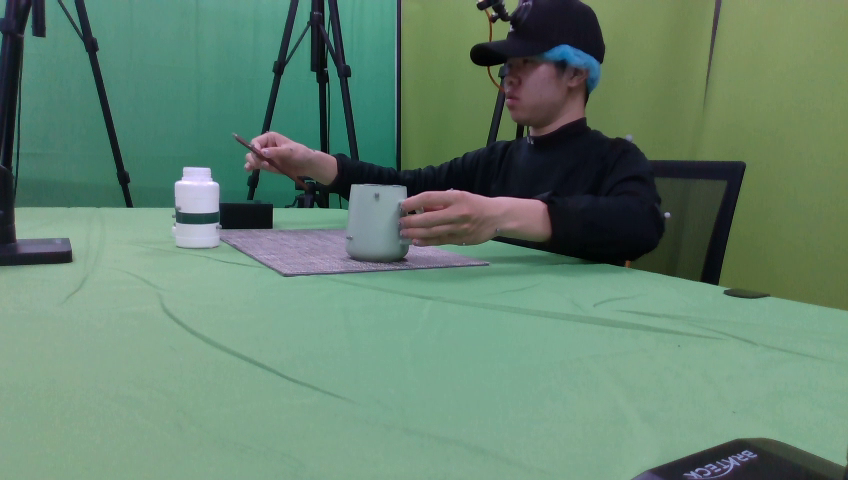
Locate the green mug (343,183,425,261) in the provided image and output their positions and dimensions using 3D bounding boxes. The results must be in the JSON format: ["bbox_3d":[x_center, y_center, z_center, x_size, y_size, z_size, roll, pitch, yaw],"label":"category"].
[{"bbox_3d":[-0.053,-0.025,0.849,0.125,0.105,0.093,7,8,32],"label":"green mug"}]

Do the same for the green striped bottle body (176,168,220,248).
[{"bbox_3d":[-0.345,-0.050,0.924,0.063,0.119,0.063,2,7,0],"label":"green striped bottle body"}]

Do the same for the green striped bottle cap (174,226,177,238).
[{"bbox_3d":[-0.404,-0.015,1.036,0.044,0.020,0.044,-2,9,1],"label":"green striped bottle cap"}]

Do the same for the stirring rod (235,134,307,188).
[{"bbox_3d":[-0.278,-0.142,1.113,0.177,0.006,0.014,38,18,-45],"label":"stirring rod"}]
